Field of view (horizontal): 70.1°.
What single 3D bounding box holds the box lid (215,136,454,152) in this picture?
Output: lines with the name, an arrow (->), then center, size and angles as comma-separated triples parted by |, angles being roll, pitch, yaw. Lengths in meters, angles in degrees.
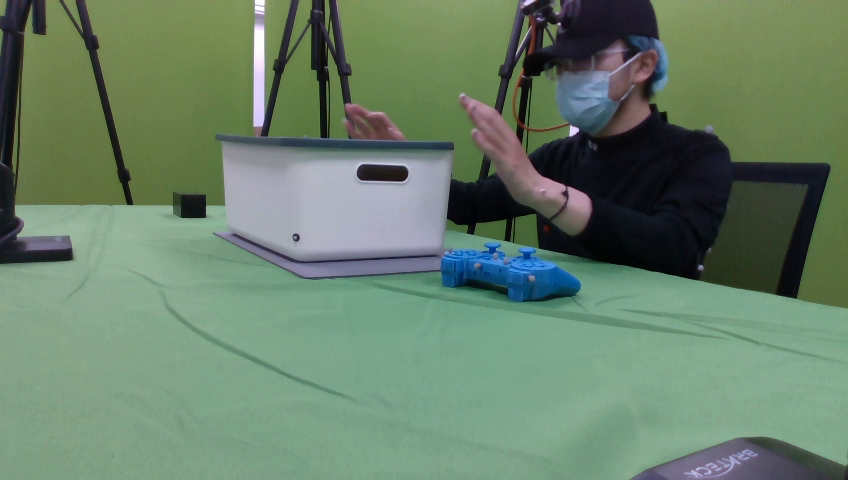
box lid -> -0.151, -0.149, 0.941 | 0.265, 0.015, 0.369 | -3, 10, -33

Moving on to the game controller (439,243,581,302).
game controller -> 0.090, 0.033, 0.686 | 0.154, 0.051, 0.097 | 8, 12, 42

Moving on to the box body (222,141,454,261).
box body -> -0.151, -0.074, 0.963 | 0.255, 0.160, 0.362 | -3, 9, -33
